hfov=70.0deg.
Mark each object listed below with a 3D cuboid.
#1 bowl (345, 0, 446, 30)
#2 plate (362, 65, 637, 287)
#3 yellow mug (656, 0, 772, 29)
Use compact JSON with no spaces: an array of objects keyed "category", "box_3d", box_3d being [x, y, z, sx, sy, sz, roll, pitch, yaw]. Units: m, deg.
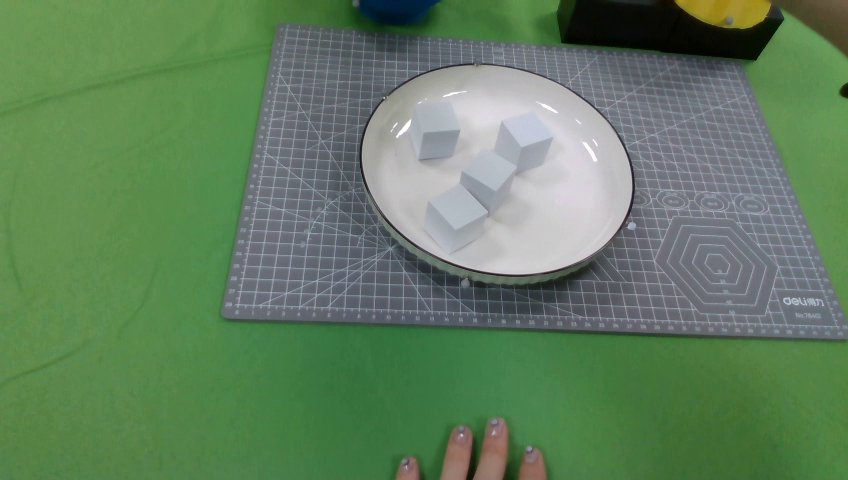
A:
[{"category":"bowl","box_3d":[-0.029,-0.254,0.569,0.151,0.077,0.150,3,57,-4]},{"category":"plate","box_3d":[0.056,-0.051,0.469,0.208,0.039,0.205,3,57,-5]},{"category":"yellow mug","box_3d":[0.263,-0.245,0.546,0.131,0.064,0.099,-11,59,-12]}]
